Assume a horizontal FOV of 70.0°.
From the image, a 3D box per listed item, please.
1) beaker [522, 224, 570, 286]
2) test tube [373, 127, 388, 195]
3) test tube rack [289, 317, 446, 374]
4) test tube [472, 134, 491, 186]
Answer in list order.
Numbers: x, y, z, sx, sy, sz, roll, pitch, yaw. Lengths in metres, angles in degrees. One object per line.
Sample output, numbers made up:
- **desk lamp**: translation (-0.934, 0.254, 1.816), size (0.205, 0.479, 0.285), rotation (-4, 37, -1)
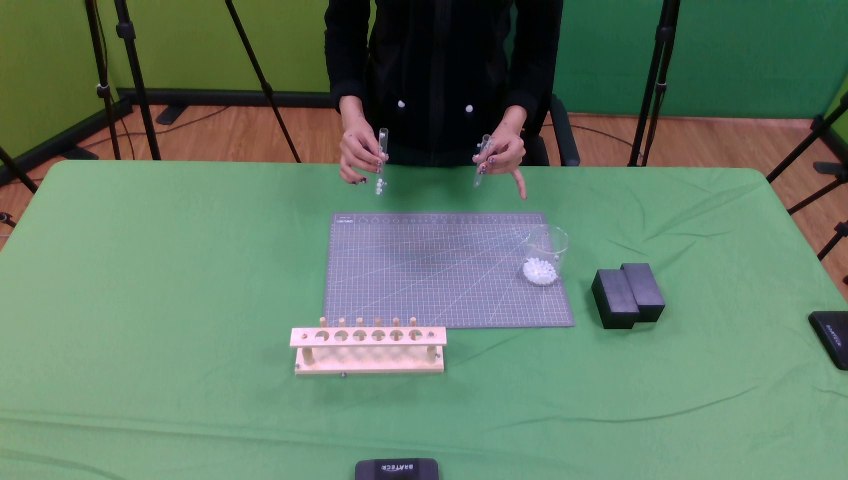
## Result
- **beaker**: translation (0.221, 0.032, 1.129), size (0.084, 0.101, 0.073), rotation (-6, 46, -9)
- **test tube**: translation (-0.080, -0.140, 1.101), size (0.017, 0.151, 0.017), rotation (5, 46, -5)
- **test tube rack**: translation (-0.089, 0.167, 0.988), size (0.242, 0.085, 0.066), rotation (0, 46, -4)
- **test tube**: translation (0.103, -0.142, 1.100), size (0.017, 0.151, 0.017), rotation (2, 63, -3)
